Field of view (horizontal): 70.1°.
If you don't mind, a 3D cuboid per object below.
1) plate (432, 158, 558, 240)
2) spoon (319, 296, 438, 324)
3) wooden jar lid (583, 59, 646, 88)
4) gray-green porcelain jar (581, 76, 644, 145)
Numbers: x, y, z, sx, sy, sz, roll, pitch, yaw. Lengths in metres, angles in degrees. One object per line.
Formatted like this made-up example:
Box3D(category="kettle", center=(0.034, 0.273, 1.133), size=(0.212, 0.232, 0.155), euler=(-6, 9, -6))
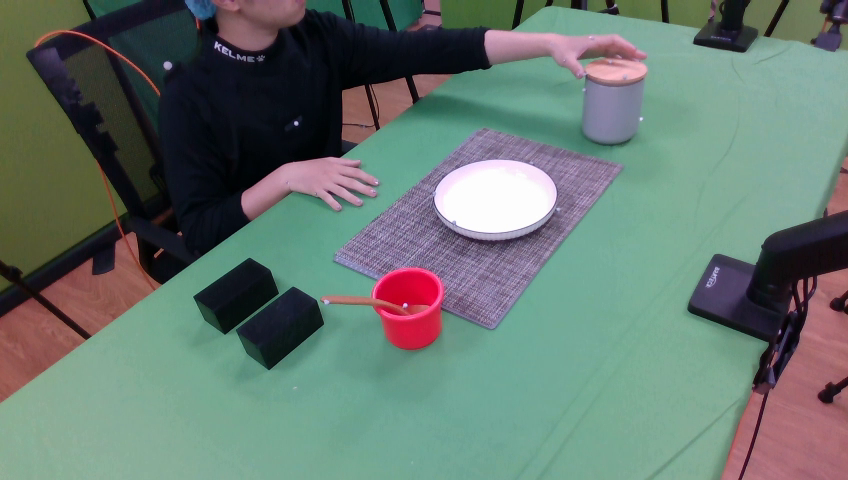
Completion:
Box3D(category="plate", center=(0.118, -0.066, 1.013), size=(0.207, 0.039, 0.206), euler=(-4, 41, 4))
Box3D(category="spoon", center=(-0.055, 0.086, 0.784), size=(0.195, 0.021, 0.041), euler=(19, 19, -44))
Box3D(category="wooden jar lid", center=(0.342, -0.298, 1.089), size=(0.108, 0.021, 0.108), euler=(-4, 38, 3))
Box3D(category="gray-green porcelain jar", center=(0.350, -0.251, 1.131), size=(0.106, 0.127, 0.105), euler=(-4, 41, 4))
